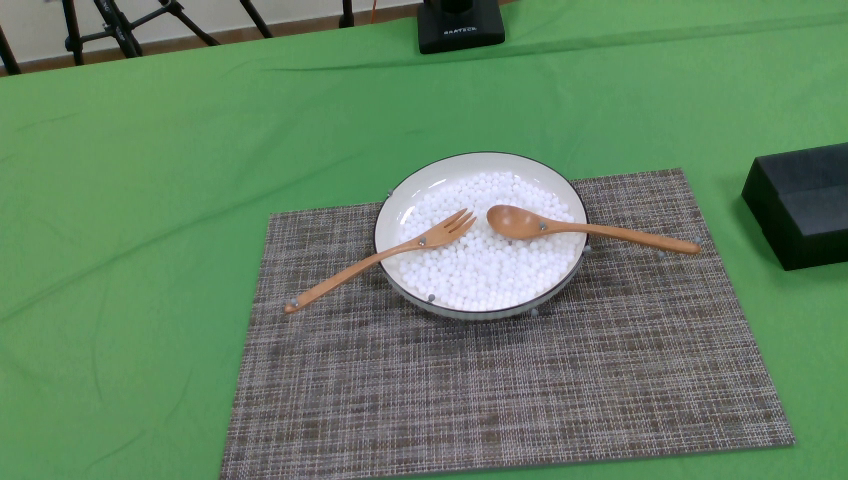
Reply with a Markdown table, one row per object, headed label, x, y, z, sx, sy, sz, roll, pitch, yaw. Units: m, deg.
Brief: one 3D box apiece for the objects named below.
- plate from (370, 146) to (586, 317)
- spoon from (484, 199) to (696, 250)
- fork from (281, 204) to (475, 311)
| label | x | y | z | sx | sy | sz | roll | pitch | yaw |
| --- | --- | --- | --- | --- | --- | --- | --- | --- | --- |
| plate | 0.052 | -0.010 | 0.596 | 0.209 | 0.038 | 0.207 | -5 | 50 | 6 |
| spoon | 0.147 | -0.012 | 0.559 | 0.192 | 0.022 | 0.041 | 9 | 49 | 26 |
| fork | -0.040 | 0.015 | 0.572 | 0.207 | 0.019 | 0.028 | -26 | 52 | -22 |
